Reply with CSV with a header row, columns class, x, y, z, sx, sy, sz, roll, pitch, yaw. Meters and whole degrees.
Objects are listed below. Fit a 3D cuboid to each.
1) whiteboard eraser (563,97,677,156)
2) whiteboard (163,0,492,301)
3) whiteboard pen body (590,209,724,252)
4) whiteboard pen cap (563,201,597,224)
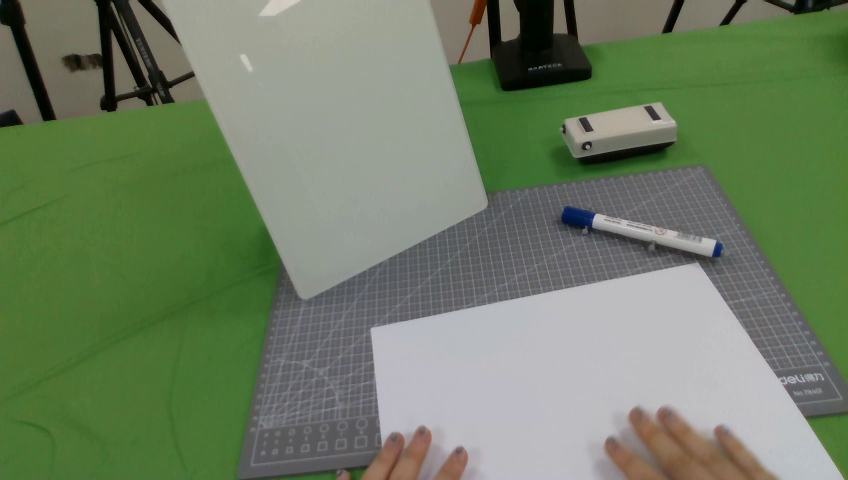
class,x,y,z,sx,sy,sz,roll,pitch,yaw
whiteboard eraser,0.215,-0.123,0.669,0.113,0.042,0.055,-9,45,0
whiteboard,-0.095,-0.138,0.594,0.217,0.308,0.142,-27,25,-17
whiteboard pen body,0.203,-0.012,0.563,0.140,0.017,0.017,16,49,27
whiteboard pen cap,0.154,-0.026,0.591,0.033,0.018,0.018,18,50,25
